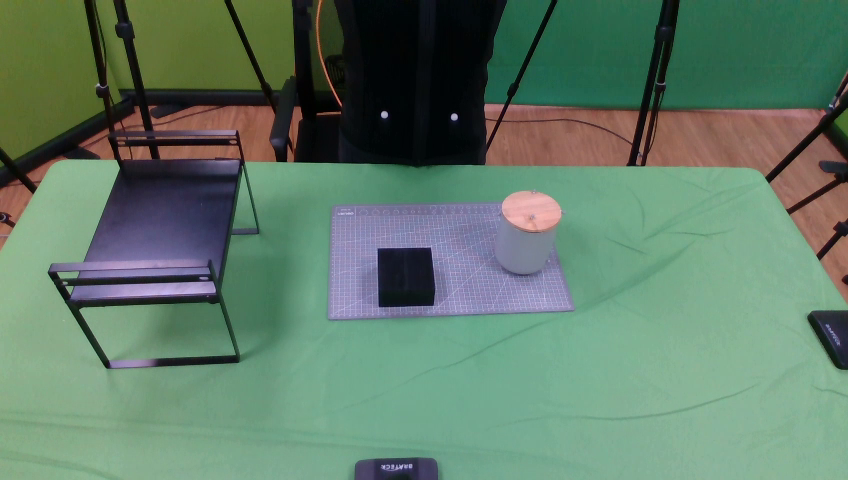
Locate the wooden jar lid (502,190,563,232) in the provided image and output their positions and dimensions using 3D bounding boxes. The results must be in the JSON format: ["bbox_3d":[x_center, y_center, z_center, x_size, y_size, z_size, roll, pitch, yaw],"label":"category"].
[{"bbox_3d":[0.195,-0.050,1.095,0.108,0.021,0.107,1,44,-1],"label":"wooden jar lid"}]

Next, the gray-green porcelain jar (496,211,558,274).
[{"bbox_3d":[0.191,-0.007,1.140,0.106,0.127,0.105,2,46,-2],"label":"gray-green porcelain jar"}]
